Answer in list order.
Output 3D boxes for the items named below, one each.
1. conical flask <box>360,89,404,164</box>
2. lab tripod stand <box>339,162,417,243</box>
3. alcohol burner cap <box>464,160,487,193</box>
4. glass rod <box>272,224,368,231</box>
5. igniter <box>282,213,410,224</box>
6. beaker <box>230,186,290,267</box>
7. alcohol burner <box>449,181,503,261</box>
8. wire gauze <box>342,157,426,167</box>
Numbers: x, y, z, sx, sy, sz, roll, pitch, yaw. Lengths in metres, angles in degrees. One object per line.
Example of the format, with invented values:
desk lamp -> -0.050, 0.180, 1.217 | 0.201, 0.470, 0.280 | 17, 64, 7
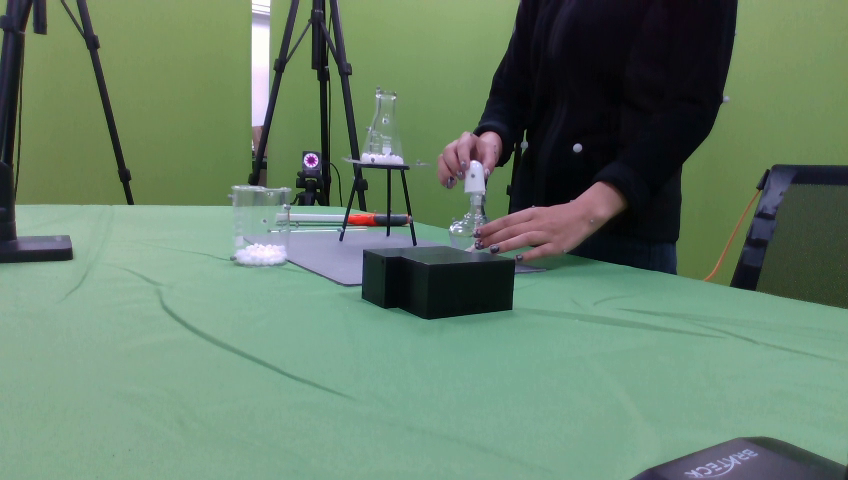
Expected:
conical flask -> -0.067, -0.189, 1.010 | 0.075, 0.122, 0.075 | 4, 6, 0
lab tripod stand -> -0.067, -0.065, 1.027 | 0.148, 0.131, 0.148 | 4, 7, 0
alcohol burner cap -> 0.073, -0.090, 0.863 | 0.034, 0.048, 0.034 | -3, 2, 0
glass rod -> -0.197, -0.024, 1.170 | 0.201, 0.008, 0.008 | -3, 9, -34
igniter -> -0.159, -0.046, 1.287 | 0.278, 0.025, 0.057 | -1, -3, -21
beaker -> -0.209, -0.019, 0.778 | 0.074, 0.100, 0.084 | 3, 6, 4
alcohol burner -> 0.076, -0.029, 0.867 | 0.078, 0.119, 0.078 | 4, 7, 0
wire gauze -> -0.065, -0.130, 1.016 | 0.122, 0.011, 0.124 | 2, 5, -27
